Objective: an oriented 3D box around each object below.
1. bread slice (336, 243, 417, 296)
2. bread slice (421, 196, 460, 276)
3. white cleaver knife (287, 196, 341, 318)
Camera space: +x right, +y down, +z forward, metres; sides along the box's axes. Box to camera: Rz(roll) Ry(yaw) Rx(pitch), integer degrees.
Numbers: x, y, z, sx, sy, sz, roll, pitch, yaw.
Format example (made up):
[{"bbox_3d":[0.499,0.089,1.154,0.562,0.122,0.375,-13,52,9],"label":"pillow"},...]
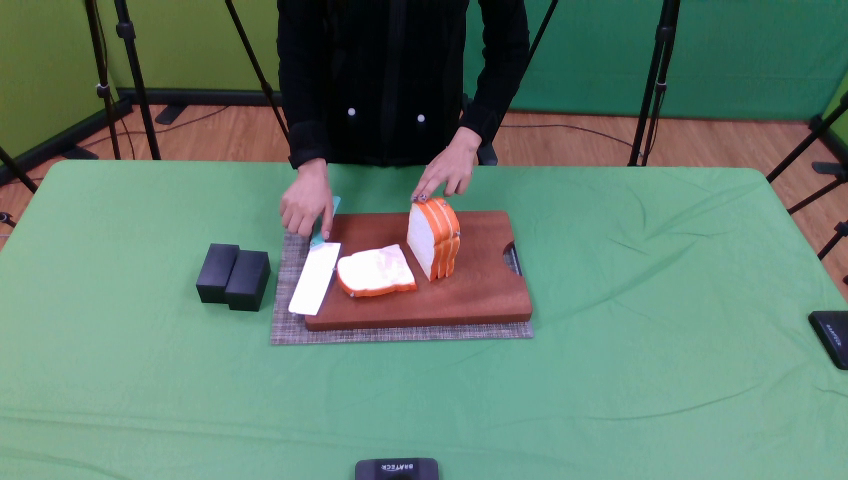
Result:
[{"bbox_3d":[-0.091,0.053,1.096,0.134,0.018,0.106,-8,45,-16],"label":"bread slice"},{"bbox_3d":[0.031,-0.013,1.099,0.019,0.132,0.104,-16,51,-25],"label":"bread slice"},{"bbox_3d":[-0.190,0.025,1.127,0.066,0.021,0.285,5,51,5],"label":"white cleaver knife"}]
